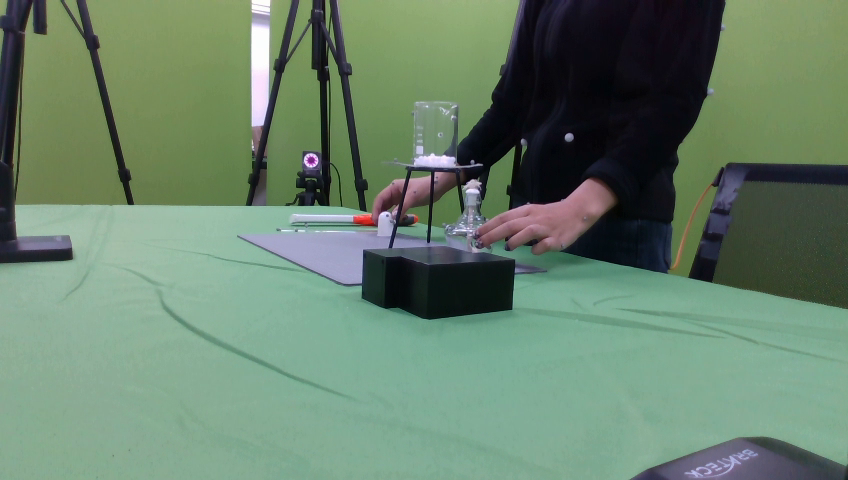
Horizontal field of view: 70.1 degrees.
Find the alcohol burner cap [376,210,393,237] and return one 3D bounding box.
[{"bbox_3d":[-0.070,-0.031,1.113,0.034,0.048,0.034,5,11,-1],"label":"alcohol burner cap"}]

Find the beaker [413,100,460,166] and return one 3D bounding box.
[{"bbox_3d":[0.020,-0.167,0.953,0.073,0.100,0.084,6,9,26],"label":"beaker"}]

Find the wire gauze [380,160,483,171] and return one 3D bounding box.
[{"bbox_3d":[0.011,-0.119,0.951,0.122,0.011,0.124,-5,12,-32],"label":"wire gauze"}]

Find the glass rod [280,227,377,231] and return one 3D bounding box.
[{"bbox_3d":[-0.175,-0.021,1.161,0.200,0.008,0.008,1,7,-15],"label":"glass rod"}]

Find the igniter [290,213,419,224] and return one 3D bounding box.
[{"bbox_3d":[-0.143,-0.046,1.288,0.278,0.025,0.057,-1,-3,-24],"label":"igniter"}]

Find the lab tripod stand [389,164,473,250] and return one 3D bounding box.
[{"bbox_3d":[0.011,-0.054,0.960,0.148,0.131,0.148,2,9,0],"label":"lab tripod stand"}]

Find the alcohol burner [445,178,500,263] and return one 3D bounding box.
[{"bbox_3d":[0.069,-0.028,0.856,0.078,0.119,0.078,1,8,0],"label":"alcohol burner"}]
